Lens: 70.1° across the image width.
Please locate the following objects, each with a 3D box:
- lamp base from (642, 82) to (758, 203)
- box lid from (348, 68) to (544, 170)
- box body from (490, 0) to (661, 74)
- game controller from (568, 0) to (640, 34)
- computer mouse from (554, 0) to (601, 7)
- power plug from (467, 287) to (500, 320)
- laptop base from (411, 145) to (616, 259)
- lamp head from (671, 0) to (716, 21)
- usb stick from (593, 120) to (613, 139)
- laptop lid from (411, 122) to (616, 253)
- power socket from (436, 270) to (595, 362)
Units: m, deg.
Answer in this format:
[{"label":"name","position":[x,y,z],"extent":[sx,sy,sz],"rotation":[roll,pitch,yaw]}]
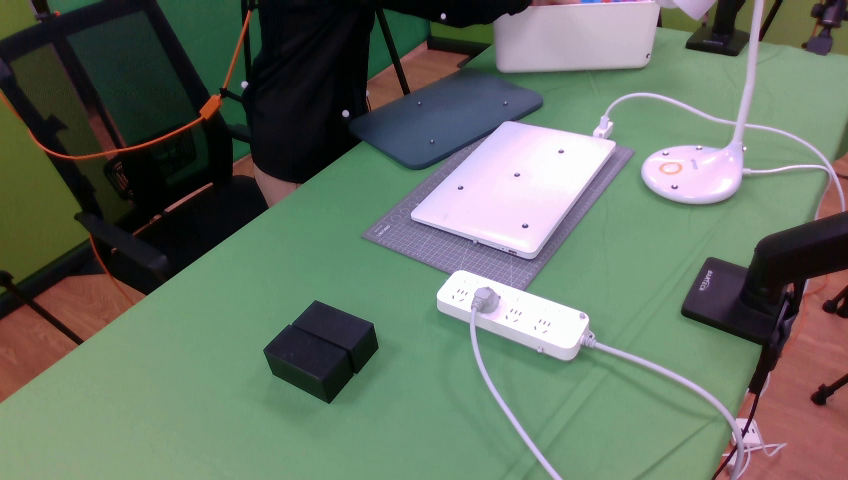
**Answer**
[{"label":"lamp base","position":[0.464,-0.174,0.992],"extent":[0.179,0.181,0.159],"rotation":[-5,41,-1]},{"label":"box lid","position":[0.048,-0.272,1.298],"extent":[0.373,0.015,0.261],"rotation":[-31,45,-25]},{"label":"box body","position":[0.346,-0.520,1.429],"extent":[0.363,0.161,0.253],"rotation":[0,41,9]},{"label":"game controller","position":[0.421,-0.522,1.396],"extent":[0.155,0.052,0.096],"rotation":[-10,43,-3]},{"label":"computer mouse","position":[0.372,-0.561,1.454],"extent":[0.117,0.041,0.062],"rotation":[-1,39,-2]},{"label":"power plug","position":[0.073,0.092,0.814],"extent":[0.035,0.053,0.073],"rotation":[29,54,34]},{"label":"laptop base","position":[0.168,-0.101,1.074],"extent":[0.234,0.023,0.355],"rotation":[17,46,30]},{"label":"lamp head","position":[0.375,-0.373,0.807],"extent":[0.122,0.113,0.112],"rotation":[-40,27,32]},{"label":"usb stick","position":[0.336,-0.201,1.147],"extent":[0.021,0.027,0.059],"rotation":[26,53,27]},{"label":"laptop lid","position":[0.165,-0.111,1.067],"extent":[0.240,0.013,0.357],"rotation":[19,46,31]},{"label":"power socket","position":[0.118,0.101,0.832],"extent":[0.225,0.033,0.072],"rotation":[19,48,27]}]
